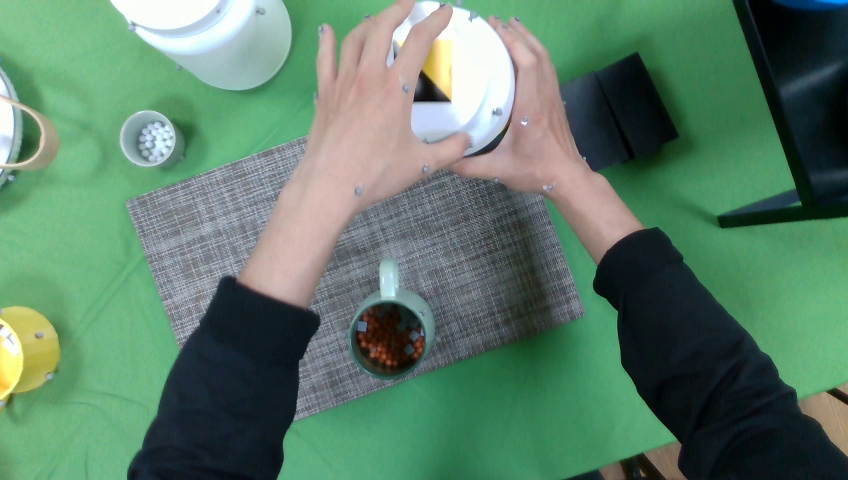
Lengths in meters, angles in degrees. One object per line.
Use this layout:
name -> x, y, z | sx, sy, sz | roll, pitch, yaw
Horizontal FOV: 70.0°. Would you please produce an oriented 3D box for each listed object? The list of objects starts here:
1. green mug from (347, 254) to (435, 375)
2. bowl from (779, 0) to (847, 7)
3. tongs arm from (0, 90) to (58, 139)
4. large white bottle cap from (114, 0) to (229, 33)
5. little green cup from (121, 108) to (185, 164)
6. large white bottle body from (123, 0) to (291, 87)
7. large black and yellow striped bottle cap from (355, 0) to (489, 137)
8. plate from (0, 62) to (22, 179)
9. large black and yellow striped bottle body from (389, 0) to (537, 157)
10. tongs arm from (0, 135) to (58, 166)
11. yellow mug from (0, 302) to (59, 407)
green mug -> -0.036, 0.077, 0.643 | 0.092, 0.105, 0.125 | -3, 90, 2
bowl -> 0.301, -0.247, 0.474 | 0.151, 0.077, 0.151 | 0, 91, 0
tongs arm -> -0.570, -0.196, 0.651 | 0.387, 0.028, 0.028 | 23, 84, 2
large white bottle cap -> -0.219, -0.237, 0.520 | 0.115, 0.018, 0.115 | 0, 91, 1
little green cup -> -0.301, -0.114, 0.680 | 0.061, 0.038, 0.061 | 0, 91, 0
large white bottle body -> -0.217, -0.238, 0.604 | 0.130, 0.184, 0.130 | 0, 90, 1
large black and yellow striped bottle cap -> -0.004, -0.144, 0.503 | 0.114, 0.019, 0.115 | 2, 95, 20
plate -> -0.552, -0.135, 0.682 | 0.208, 0.039, 0.207 | 0, 91, 0
large black and yellow striped bottle body -> 0.028, -0.149, 0.580 | 0.130, 0.184, 0.131 | 2, 96, 21
tongs arm -> -0.590, -0.115, 0.651 | 0.385, 0.026, 0.050 | 9, 87, 2
yellow mug -> -0.476, 0.137, 0.670 | 0.100, 0.064, 0.131 | 13, 92, 0
